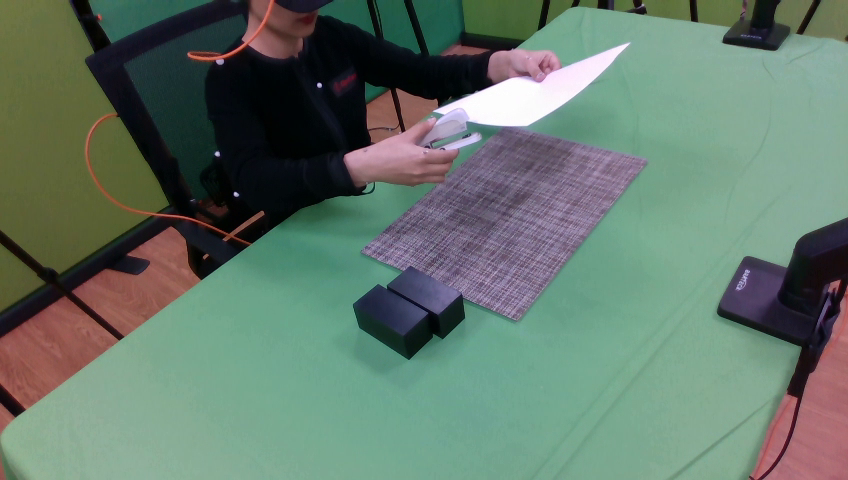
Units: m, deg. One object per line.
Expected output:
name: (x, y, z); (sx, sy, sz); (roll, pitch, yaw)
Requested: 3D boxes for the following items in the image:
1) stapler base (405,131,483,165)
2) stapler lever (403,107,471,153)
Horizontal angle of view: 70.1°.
stapler base: (0.028, -0.153, 0.963); (0.130, 0.024, 0.041); (-19, 15, 12)
stapler lever: (0.018, -0.174, 0.956); (0.118, 0.040, 0.027); (-18, 15, 12)
